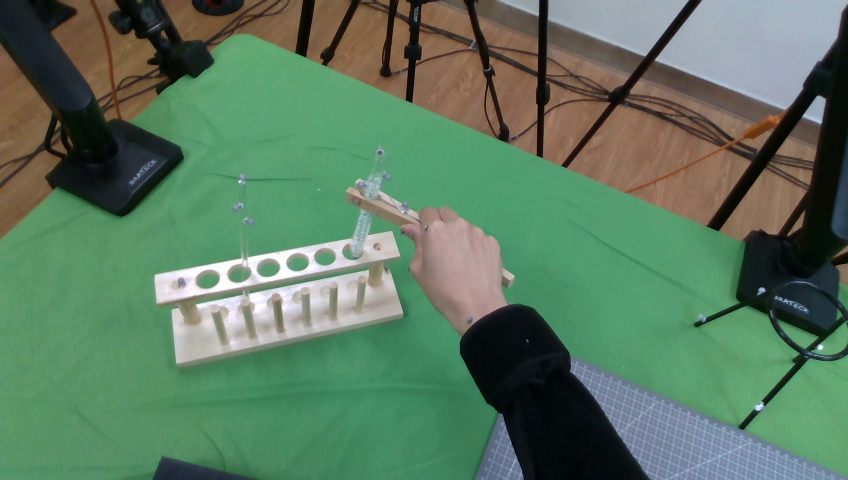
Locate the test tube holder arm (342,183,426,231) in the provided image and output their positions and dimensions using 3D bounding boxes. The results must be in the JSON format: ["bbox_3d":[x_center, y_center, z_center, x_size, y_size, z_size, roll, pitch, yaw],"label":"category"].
[{"bbox_3d":[-0.037,-0.031,0.572,0.087,0.015,0.010,23,53,9],"label":"test tube holder arm"}]

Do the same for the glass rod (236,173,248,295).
[{"bbox_3d":[-0.178,0.009,0.594,0.008,0.201,0.008,8,47,-8],"label":"glass rod"}]

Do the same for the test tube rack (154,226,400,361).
[{"bbox_3d":[-0.148,0.056,0.648,0.243,0.086,0.066,-11,59,-15],"label":"test tube rack"}]

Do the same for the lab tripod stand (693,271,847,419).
[{"bbox_3d":[0.379,0.108,0.657,0.148,0.132,0.147,4,58,-6],"label":"lab tripod stand"}]

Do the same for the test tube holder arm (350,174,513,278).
[{"bbox_3d":[0.004,-0.014,0.566,0.177,0.015,0.013,29,55,13],"label":"test tube holder arm"}]

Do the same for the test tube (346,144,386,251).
[{"bbox_3d":[-0.059,-0.036,0.590,0.017,0.151,0.017,9,51,-11],"label":"test tube"}]
